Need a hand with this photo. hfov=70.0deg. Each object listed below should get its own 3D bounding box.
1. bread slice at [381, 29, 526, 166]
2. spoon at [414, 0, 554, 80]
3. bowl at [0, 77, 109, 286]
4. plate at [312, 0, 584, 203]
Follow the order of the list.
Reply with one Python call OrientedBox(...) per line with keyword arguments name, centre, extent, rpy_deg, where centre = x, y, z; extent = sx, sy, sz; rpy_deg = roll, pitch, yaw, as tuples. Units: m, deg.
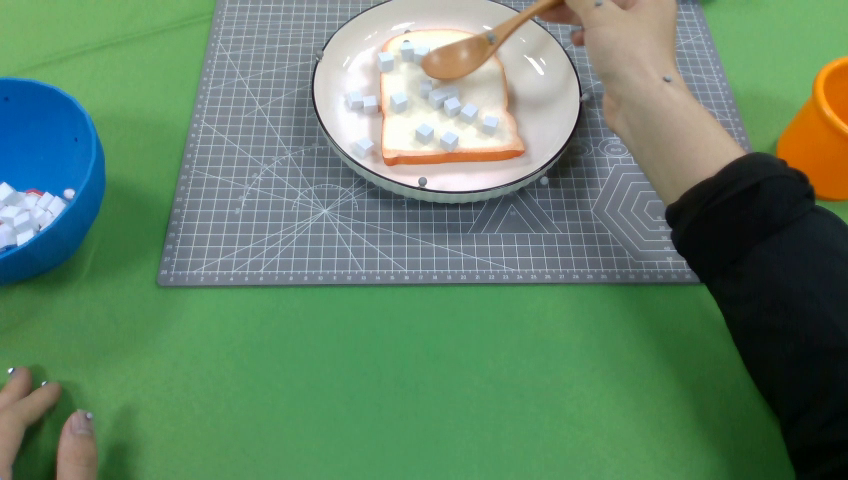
OrientedBox(name="bread slice", centre=(0.015, -0.116, 0.486), extent=(0.107, 0.018, 0.133), rpy_deg=(-7, 63, -5))
OrientedBox(name="spoon", centre=(0.081, -0.170, 0.447), extent=(0.193, 0.022, 0.041), rpy_deg=(-28, 51, 11))
OrientedBox(name="bowl", centre=(-0.276, -0.025, 0.400), extent=(0.151, 0.077, 0.150), rpy_deg=(1, 60, -2))
OrientedBox(name="plate", centre=(0.018, -0.113, 0.481), extent=(0.209, 0.038, 0.207), rpy_deg=(1, 61, -1))
